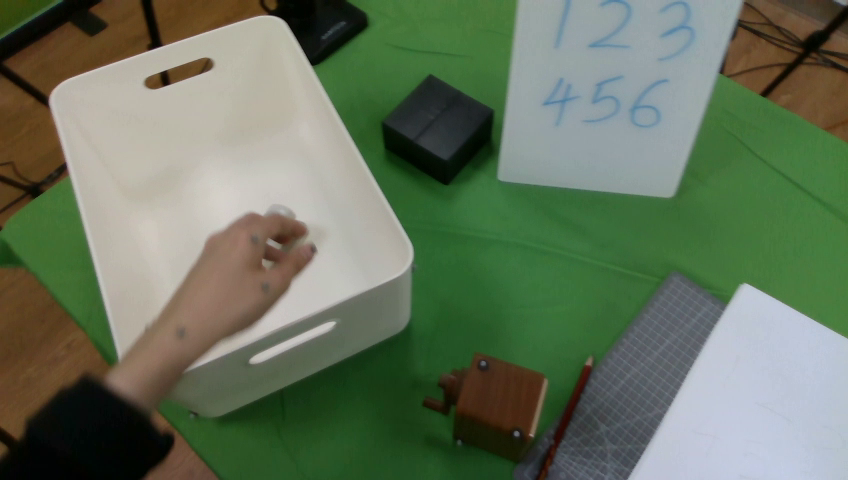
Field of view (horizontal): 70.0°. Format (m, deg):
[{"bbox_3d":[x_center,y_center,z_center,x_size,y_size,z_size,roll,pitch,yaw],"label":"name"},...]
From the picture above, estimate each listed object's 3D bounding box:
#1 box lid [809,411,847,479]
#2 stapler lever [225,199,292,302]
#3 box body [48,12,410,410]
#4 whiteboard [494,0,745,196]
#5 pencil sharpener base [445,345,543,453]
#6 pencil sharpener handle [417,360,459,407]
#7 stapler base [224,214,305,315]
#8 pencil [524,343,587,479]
[{"bbox_3d":[0.430,0.342,0.520,0.261,0.015,0.371,38,68,18],"label":"box lid"},{"bbox_3d":[-0.180,0.008,0.659,0.027,0.040,0.117,18,65,12],"label":"stapler lever"},{"bbox_3d":[-0.195,-0.035,0.640,0.254,0.161,0.360,-24,64,-12],"label":"box body"},{"bbox_3d":[0.209,-0.224,0.697,0.217,0.308,0.142,7,42,5],"label":"whiteboard"},{"bbox_3d":[0.061,0.151,0.570,0.076,0.108,0.061,17,63,10],"label":"pencil sharpener base"},{"bbox_3d":[0.011,0.133,0.565,0.030,0.068,0.036,17,47,10],"label":"pencil sharpener handle"},{"bbox_3d":[-0.179,0.019,0.683,0.041,0.024,0.130,18,65,12],"label":"stapler base"},{"bbox_3d":[0.127,0.185,0.604,0.012,0.012,0.193,25,65,14],"label":"pencil"}]
